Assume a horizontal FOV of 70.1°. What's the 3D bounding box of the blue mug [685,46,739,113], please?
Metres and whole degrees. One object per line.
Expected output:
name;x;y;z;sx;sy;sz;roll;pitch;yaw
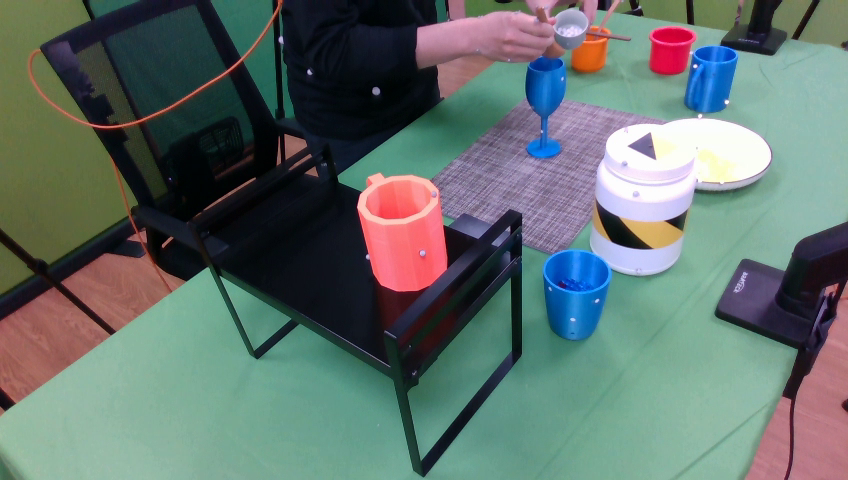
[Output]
blue mug;0.556;-0.310;1.190;0.117;0.106;0.081;-32;46;-25

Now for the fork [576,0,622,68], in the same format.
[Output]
fork;0.409;-0.484;1.381;0.028;0.019;0.207;37;101;46

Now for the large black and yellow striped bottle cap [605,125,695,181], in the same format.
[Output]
large black and yellow striped bottle cap;0.304;-0.120;0.817;0.115;0.019;0.114;-3;41;3

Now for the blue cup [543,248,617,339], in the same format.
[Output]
blue cup;0.199;0.076;0.797;0.092;0.100;0.092;-4;39;4

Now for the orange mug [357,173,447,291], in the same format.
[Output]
orange mug;-0.029;-0.018;0.669;0.084;0.101;0.125;-23;46;-16

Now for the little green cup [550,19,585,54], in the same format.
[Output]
little green cup;0.259;-0.365;1.086;0.061;0.039;0.061;-13;42;13

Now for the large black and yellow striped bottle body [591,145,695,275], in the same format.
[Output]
large black and yellow striped bottle body;0.313;-0.056;0.871;0.131;0.185;0.130;-4;40;4

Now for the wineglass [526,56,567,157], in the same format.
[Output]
wineglass;0.222;-0.241;1.102;0.074;0.173;0.073;-5;41;5

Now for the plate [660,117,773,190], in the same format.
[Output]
plate;0.495;-0.148;1.063;0.209;0.038;0.208;-5;40;4

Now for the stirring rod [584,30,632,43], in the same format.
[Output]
stirring rod;0.381;-0.462;1.356;0.175;0.006;0.014;23;48;29

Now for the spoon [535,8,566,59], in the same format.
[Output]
spoon;0.194;-0.323;0.953;0.041;0.195;0.021;2;84;20
